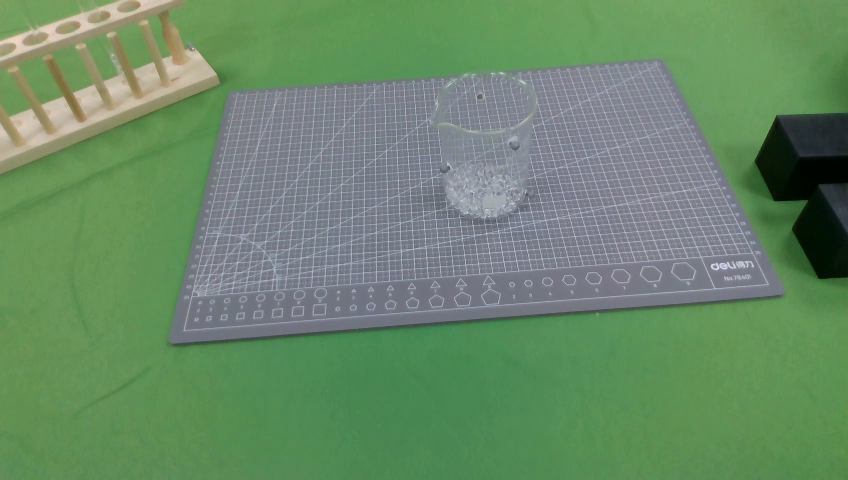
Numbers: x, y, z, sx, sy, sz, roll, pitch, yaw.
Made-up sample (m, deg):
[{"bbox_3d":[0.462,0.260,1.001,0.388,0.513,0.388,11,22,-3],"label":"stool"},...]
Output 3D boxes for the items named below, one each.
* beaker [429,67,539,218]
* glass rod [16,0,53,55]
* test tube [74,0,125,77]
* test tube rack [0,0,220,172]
[{"bbox_3d":[0.045,-0.072,0.480,0.084,0.101,0.073,-20,52,-11],"label":"beaker"},{"bbox_3d":[-0.348,-0.197,0.531,0.008,0.201,0.008,1,52,-1],"label":"glass rod"},{"bbox_3d":[-0.313,-0.216,0.567,0.017,0.151,0.017,-3,53,4],"label":"test tube"},{"bbox_3d":[-0.334,-0.156,0.583,0.242,0.086,0.066,-29,55,-20],"label":"test tube rack"}]
